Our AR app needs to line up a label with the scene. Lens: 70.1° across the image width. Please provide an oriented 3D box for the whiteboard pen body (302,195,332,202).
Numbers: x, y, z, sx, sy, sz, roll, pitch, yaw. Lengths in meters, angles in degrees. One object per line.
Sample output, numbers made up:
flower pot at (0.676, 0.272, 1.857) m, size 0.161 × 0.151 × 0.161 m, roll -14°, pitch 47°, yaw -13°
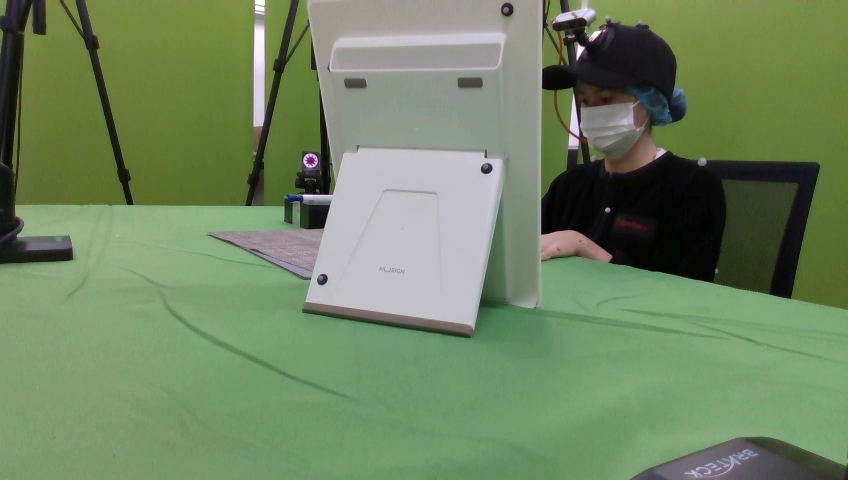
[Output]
whiteboard pen body at (-0.211, -0.086, 1.253) m, size 0.141 × 0.017 × 0.017 m, roll -2°, pitch 9°, yaw -36°

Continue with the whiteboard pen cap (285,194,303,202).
whiteboard pen cap at (-0.261, -0.084, 1.218) m, size 0.033 × 0.018 × 0.018 m, roll -4°, pitch 10°, yaw -37°

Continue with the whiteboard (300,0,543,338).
whiteboard at (-0.020, -0.050, 0.523) m, size 0.216 × 0.305 × 0.144 m, roll 6°, pitch 27°, yaw 22°
